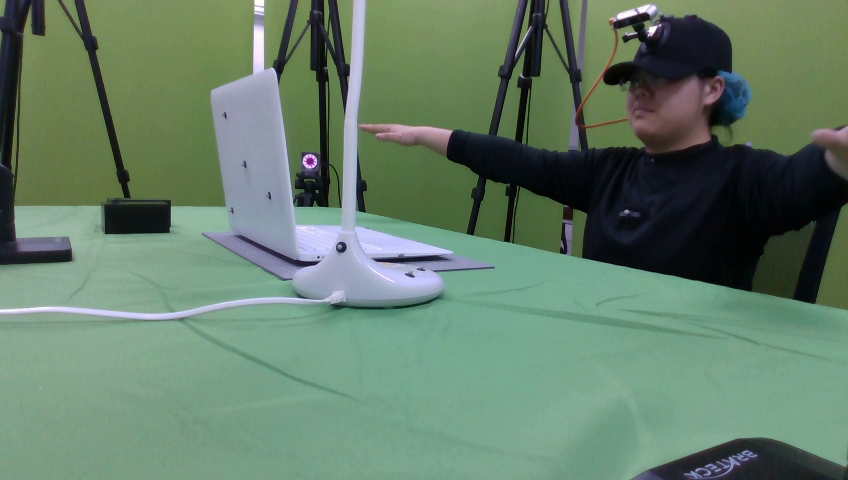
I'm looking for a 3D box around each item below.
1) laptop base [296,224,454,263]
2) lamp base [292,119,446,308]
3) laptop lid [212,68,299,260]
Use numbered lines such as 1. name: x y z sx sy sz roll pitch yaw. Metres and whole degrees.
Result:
1. laptop base: -0.143 0.003 0.957 0.237 0.023 0.352 2 6 -32
2. lamp base: -0.056 -0.030 0.616 0.160 0.180 0.179 3 10 8
3. laptop lid: -0.254 -0.111 0.872 0.013 0.241 0.355 -11 14 -30
